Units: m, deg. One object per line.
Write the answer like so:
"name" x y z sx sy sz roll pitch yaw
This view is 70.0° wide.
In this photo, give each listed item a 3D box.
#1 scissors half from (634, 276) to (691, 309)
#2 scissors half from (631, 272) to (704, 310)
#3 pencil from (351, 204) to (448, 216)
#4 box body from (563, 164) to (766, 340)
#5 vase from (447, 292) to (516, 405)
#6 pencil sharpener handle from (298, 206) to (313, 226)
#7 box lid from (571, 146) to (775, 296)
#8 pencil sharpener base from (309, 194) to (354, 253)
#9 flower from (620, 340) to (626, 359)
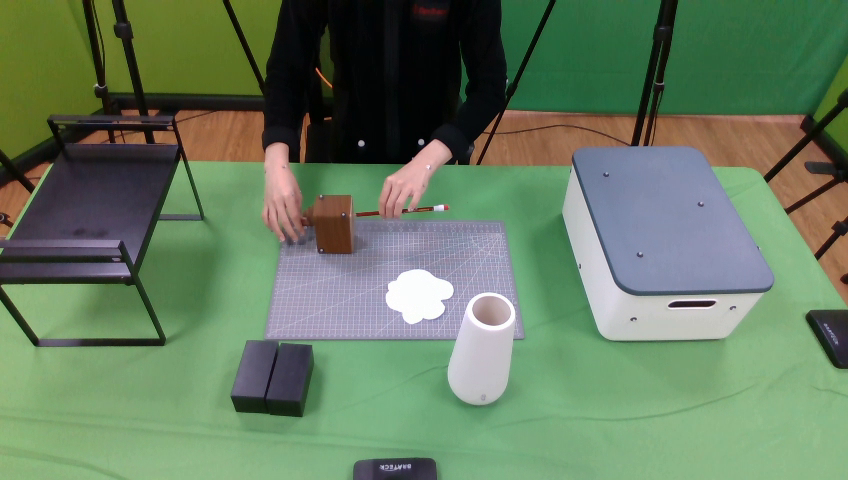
"scissors half" 0.454 0.096 1.144 0.175 0.040 0.013 -20 89 -31
"scissors half" 0.460 0.092 1.132 0.175 0.040 0.013 -22 83 -21
"pencil" -0.051 -0.055 1.141 0.194 0.012 0.012 -5 47 -6
"box body" 0.421 0.003 1.130 0.254 0.161 0.361 0 46 -5
"vase" 0.091 0.168 0.921 0.098 0.201 0.097 3 47 -3
"pencil sharpener handle" -0.225 -0.044 1.141 0.031 0.068 0.036 0 67 -3
"box lid" 0.424 -0.048 1.074 0.263 0.015 0.369 -1 46 -4
"pencil sharpener base" -0.175 -0.030 1.150 0.077 0.107 0.061 0 47 -3
"flower" 0.416 0.065 1.186 0.038 0.044 0.360 29 64 -20
